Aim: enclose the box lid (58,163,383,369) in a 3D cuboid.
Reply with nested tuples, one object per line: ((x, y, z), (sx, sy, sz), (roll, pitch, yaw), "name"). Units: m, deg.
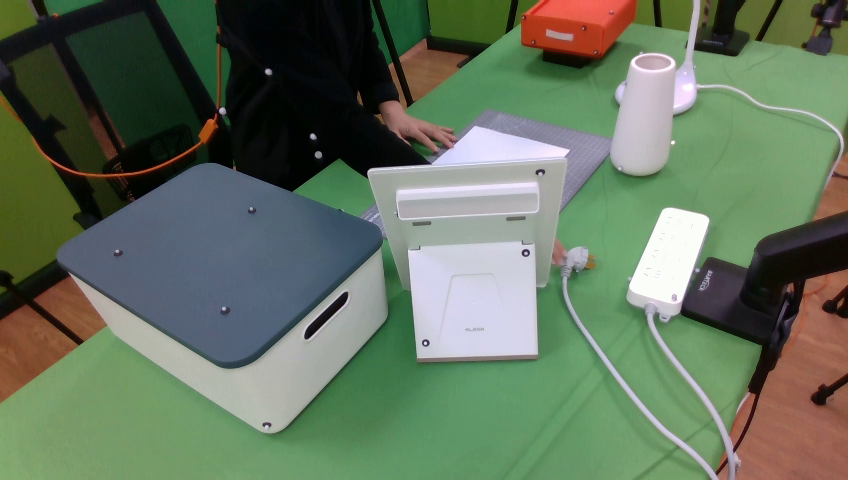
((-0.262, 0.010, 0.777), (0.369, 0.015, 0.264), (21, 47, 29), "box lid")

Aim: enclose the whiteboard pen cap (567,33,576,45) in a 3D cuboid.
((0.339, -0.463, 1.389), (0.018, 0.018, 0.033), (-2, 44, 5), "whiteboard pen cap")

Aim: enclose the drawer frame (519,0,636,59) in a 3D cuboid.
((0.362, -0.518, 1.423), (0.200, 0.083, 0.214), (19, 48, 29), "drawer frame")

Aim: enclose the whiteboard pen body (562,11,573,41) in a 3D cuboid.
((0.340, -0.505, 1.430), (0.017, 0.017, 0.140), (-1, 44, 7), "whiteboard pen body")

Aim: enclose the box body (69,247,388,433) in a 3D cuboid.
((-0.256, 0.066, 0.826), (0.361, 0.161, 0.255), (20, 48, 29), "box body")

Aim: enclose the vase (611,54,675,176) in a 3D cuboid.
((0.377, -0.209, 1.031), (0.098, 0.201, 0.097), (-3, 40, 3), "vase")

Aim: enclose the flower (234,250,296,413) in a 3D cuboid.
((-0.244, 0.109, 0.870), (0.044, 0.038, 0.358), (11, 26, -32), "flower")

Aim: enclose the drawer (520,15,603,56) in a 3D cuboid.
((0.359, -0.517, 1.416), (0.193, 0.073, 0.212), (20, 47, 29), "drawer")

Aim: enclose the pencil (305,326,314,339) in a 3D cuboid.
((-0.187, 0.106, 0.880), (0.012, 0.012, 0.192), (-27, 41, -22), "pencil")

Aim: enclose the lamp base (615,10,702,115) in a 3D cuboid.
((0.484, -0.363, 1.211), (0.180, 0.181, 0.159), (-15, 41, -14), "lamp base")

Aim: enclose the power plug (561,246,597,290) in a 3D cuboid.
((0.228, 0.044, 0.897), (0.053, 0.035, 0.072), (16, 83, -9), "power plug")

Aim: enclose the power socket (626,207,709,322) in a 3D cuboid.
((0.360, 0.026, 0.886), (0.072, 0.033, 0.227), (17, 46, 26), "power socket")

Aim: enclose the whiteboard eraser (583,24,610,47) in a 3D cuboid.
((0.407, -0.479, 1.423), (0.055, 0.042, 0.113), (-2, 9, 21), "whiteboard eraser")

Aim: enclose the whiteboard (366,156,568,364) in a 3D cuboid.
((0.059, 0.050, 0.738), (0.217, 0.307, 0.143), (-2, 60, 6), "whiteboard")
